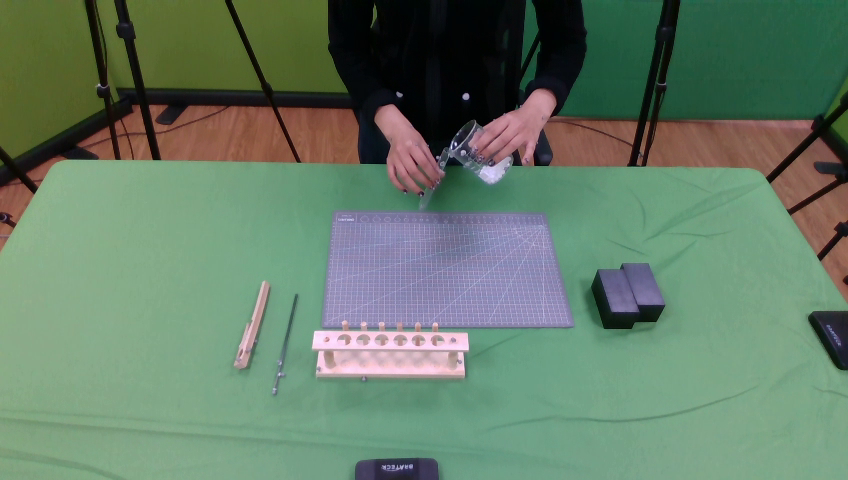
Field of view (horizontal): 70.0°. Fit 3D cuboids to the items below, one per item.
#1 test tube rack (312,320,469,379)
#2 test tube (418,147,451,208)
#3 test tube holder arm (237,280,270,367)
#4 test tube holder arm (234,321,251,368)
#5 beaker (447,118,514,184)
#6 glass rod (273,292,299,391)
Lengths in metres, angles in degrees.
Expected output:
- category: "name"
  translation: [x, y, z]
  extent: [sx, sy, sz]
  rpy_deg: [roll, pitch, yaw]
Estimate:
- category: "test tube rack"
  translation: [-0.054, 0.173, 0.984]
  extent: [0.242, 0.085, 0.066]
  rpy_deg: [1, 46, -3]
- category: "test tube"
  translation: [0.019, -0.114, 1.132]
  extent: [0.017, 0.151, 0.017]
  rpy_deg: [13, 46, -13]
- category: "test tube holder arm"
  translation: [-0.290, 0.139, 1.042]
  extent: [0.013, 0.015, 0.177]
  rpy_deg: [-17, 42, 22]
- category: "test tube holder arm"
  translation: [-0.299, 0.173, 1.013]
  extent: [0.010, 0.015, 0.087]
  rpy_deg: [-16, 42, 22]
- category: "beaker"
  translation: [0.100, -0.152, 1.065]
  extent: [0.100, 0.084, 0.073]
  rpy_deg: [37, 50, -17]
- category: "glass rod"
  translation: [-0.233, 0.167, 1.030]
  extent: [0.008, 0.008, 0.198]
  rpy_deg: [3, 46, 0]
